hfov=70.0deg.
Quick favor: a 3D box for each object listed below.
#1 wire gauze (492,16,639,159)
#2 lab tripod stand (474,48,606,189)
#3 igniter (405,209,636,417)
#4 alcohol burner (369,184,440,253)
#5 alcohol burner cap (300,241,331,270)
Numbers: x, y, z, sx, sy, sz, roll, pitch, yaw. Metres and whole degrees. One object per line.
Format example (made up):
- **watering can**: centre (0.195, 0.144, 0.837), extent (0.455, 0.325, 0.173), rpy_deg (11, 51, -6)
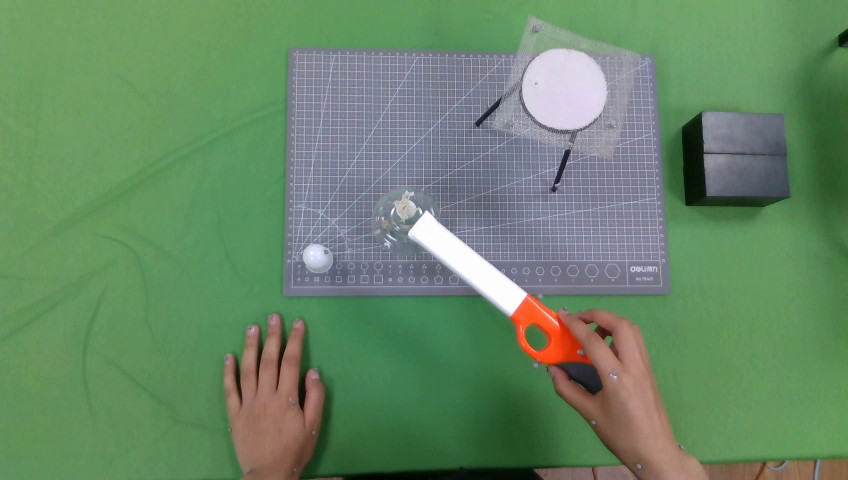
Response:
- **wire gauze**: centre (0.143, -0.152, 0.601), extent (0.121, 0.011, 0.124), rpy_deg (19, 80, -1)
- **lab tripod stand**: centre (0.136, -0.143, 0.668), extent (0.148, 0.132, 0.148), rpy_deg (1, 79, -3)
- **igniter**: centre (0.096, 0.070, 0.585), extent (0.276, 0.025, 0.057), rpy_deg (40, 79, 1)
- **alcohol burner**: centre (-0.021, -0.026, 0.650), extent (0.078, 0.119, 0.077), rpy_deg (0, 83, -3)
- **alcohol burner cap**: centre (-0.122, 0.015, 0.673), extent (0.034, 0.048, 0.033), rpy_deg (1, 81, -4)
